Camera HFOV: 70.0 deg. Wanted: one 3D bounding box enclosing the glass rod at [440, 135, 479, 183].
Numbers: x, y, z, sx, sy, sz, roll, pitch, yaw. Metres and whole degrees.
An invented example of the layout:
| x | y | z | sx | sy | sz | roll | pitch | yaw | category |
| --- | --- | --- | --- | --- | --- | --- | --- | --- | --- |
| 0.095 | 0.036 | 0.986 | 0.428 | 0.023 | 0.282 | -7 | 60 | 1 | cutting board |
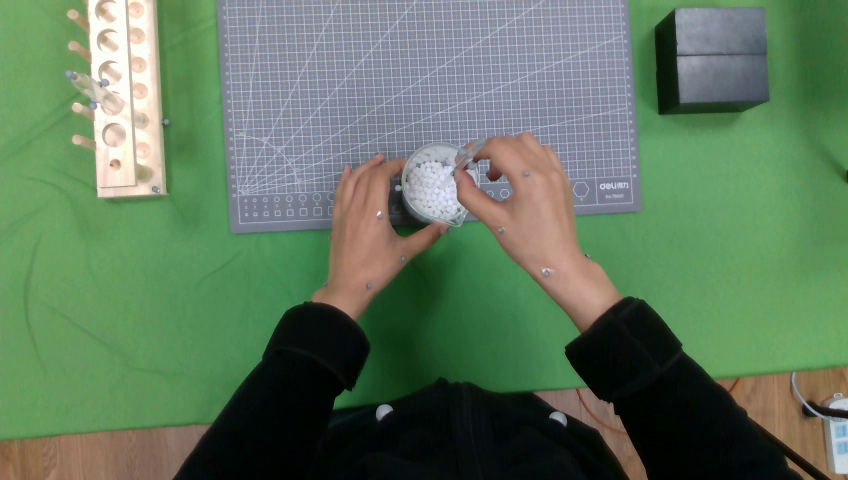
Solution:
| x | y | z | sx | sy | sz | roll | pitch | yaw | category |
| --- | --- | --- | --- | --- | --- | --- | --- | --- | --- |
| 0.027 | -0.067 | 0.525 | 0.008 | 0.199 | 0.008 | 0 | 87 | -5 | glass rod |

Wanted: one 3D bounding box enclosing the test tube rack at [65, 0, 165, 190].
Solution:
| x | y | z | sx | sy | sz | roll | pitch | yaw | category |
| --- | --- | --- | --- | --- | --- | --- | --- | --- | --- |
| -0.310 | -0.175 | 0.597 | 0.067 | 0.085 | 0.242 | -3 | 90 | -4 | test tube rack |

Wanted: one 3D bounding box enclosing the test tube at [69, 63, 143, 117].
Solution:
| x | y | z | sx | sy | sz | roll | pitch | yaw | category |
| --- | --- | --- | --- | --- | --- | --- | --- | --- | --- |
| -0.283 | -0.132 | 0.549 | 0.017 | 0.150 | 0.017 | 0 | 90 | -10 | test tube |

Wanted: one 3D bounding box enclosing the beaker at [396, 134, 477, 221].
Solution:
| x | y | z | sx | sy | sz | roll | pitch | yaw | category |
| --- | --- | --- | --- | --- | --- | --- | --- | --- | --- |
| 0.011 | -0.056 | 0.611 | 0.074 | 0.100 | 0.084 | -23 | 91 | -4 | beaker |
